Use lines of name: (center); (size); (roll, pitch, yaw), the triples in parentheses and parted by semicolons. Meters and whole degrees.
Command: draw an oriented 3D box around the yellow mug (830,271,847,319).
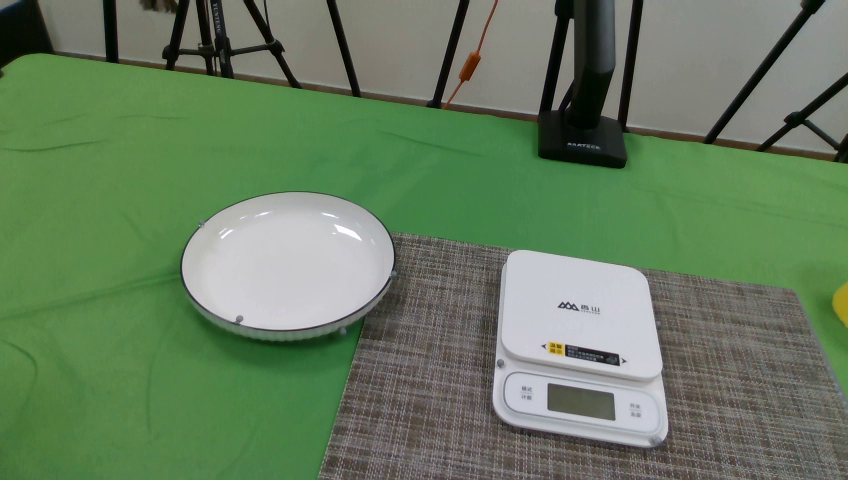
yellow mug: (0.500, 0.060, 0.618); (0.100, 0.064, 0.129); (-24, 50, -28)

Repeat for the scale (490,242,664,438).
scale: (0.142, 0.084, 0.570); (0.148, 0.032, 0.199); (9, 42, 3)

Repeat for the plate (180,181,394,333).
plate: (-0.135, 0.016, 0.615); (0.209, 0.038, 0.207); (3, 42, -3)
